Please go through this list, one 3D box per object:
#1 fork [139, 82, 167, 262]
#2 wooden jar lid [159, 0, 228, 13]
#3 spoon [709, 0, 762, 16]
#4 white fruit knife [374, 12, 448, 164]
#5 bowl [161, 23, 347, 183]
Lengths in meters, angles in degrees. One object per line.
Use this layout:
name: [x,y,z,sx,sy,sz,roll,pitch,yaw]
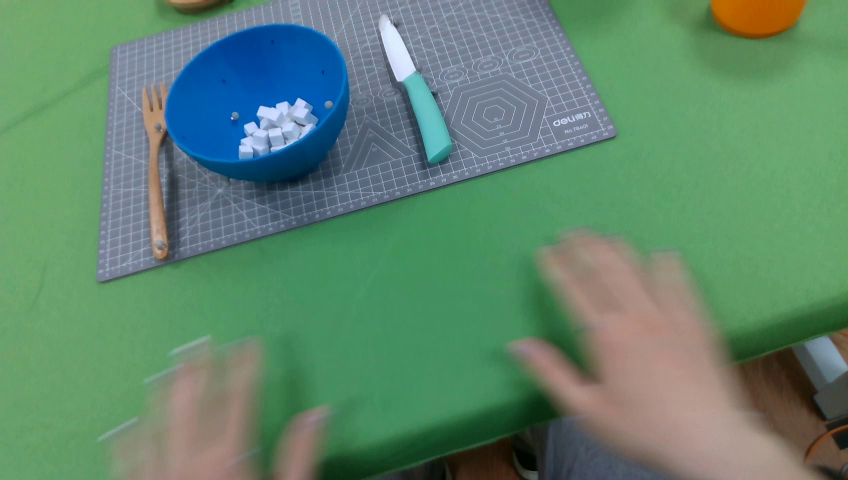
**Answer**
fork: [-0.243,-0.068,0.546,0.028,0.019,0.205,-13,57,-7]
wooden jar lid: [-0.251,-0.295,0.682,0.108,0.021,0.107,-3,60,6]
spoon: [0.324,-0.250,0.488,0.022,0.194,0.041,13,56,-36]
white fruit knife: [-0.016,-0.149,0.558,0.027,0.016,0.205,-11,57,-13]
bowl: [-0.131,-0.101,0.513,0.151,0.077,0.150,-4,60,7]
